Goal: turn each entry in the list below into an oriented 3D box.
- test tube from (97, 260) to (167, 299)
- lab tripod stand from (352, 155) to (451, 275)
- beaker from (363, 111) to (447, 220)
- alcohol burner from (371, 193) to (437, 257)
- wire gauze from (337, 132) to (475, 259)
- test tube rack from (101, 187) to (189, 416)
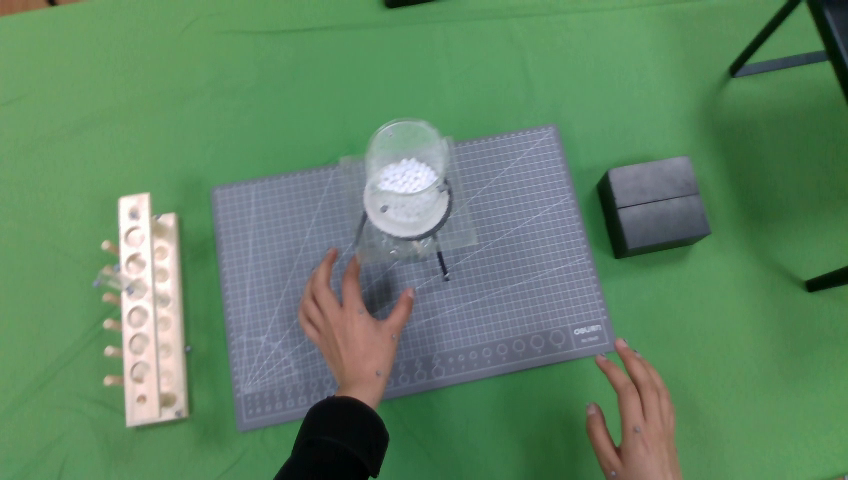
[{"bbox_3d":[-0.303,0.044,0.639,0.017,0.151,0.017,1,76,-3],"label":"test tube"},{"bbox_3d":[-0.017,-0.034,0.687,0.148,0.132,0.147,0,74,1],"label":"lab tripod stand"},{"bbox_3d":[-0.020,-0.063,0.576,0.073,0.101,0.084,44,78,10],"label":"beaker"},{"bbox_3d":[-0.023,-0.022,0.694,0.078,0.119,0.077,1,74,-2],"label":"alcohol burner"},{"bbox_3d":[-0.020,-0.046,0.622,0.125,0.011,0.121,-9,76,-6],"label":"wire gauze"},{"bbox_3d":[-0.321,0.071,0.683,0.067,0.085,0.241,-9,76,-3],"label":"test tube rack"}]
